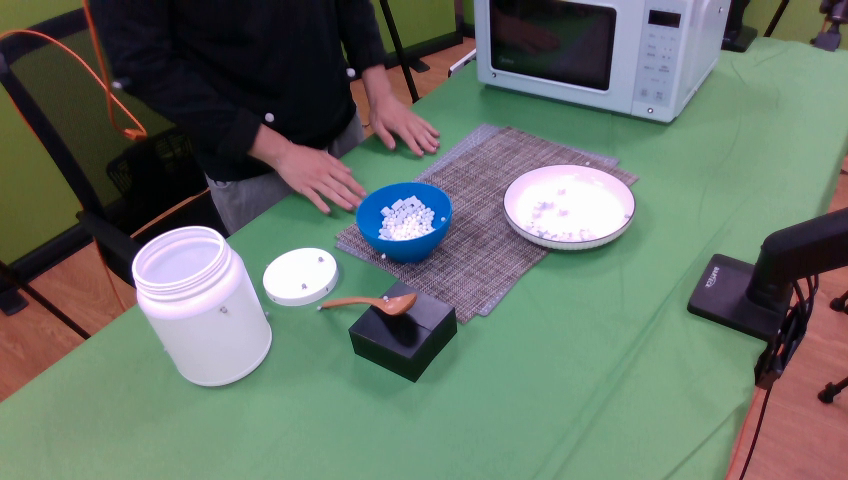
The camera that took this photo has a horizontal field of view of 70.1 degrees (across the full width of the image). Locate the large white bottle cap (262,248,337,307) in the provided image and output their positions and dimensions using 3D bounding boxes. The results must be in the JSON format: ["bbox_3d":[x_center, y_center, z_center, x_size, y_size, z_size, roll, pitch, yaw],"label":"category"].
[{"bbox_3d":[-0.193,0.056,0.933,0.115,0.018,0.114,-5,41,5],"label":"large white bottle cap"}]

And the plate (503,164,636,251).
[{"bbox_3d":[0.232,-0.050,0.976,0.209,0.038,0.208,-3,41,3],"label":"plate"}]

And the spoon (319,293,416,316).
[{"bbox_3d":[-0.082,0.086,0.826,0.192,0.022,0.041,-3,37,41],"label":"spoon"}]

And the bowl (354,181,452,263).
[{"bbox_3d":[-0.028,-0.017,0.943,0.151,0.077,0.150,-4,40,4],"label":"bowl"}]

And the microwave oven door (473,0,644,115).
[{"bbox_3d":[0.257,-0.396,1.199,0.353,0.245,0.039,21,48,29],"label":"microwave oven door"}]

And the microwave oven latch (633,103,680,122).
[{"bbox_3d":[0.444,-0.249,1.157,0.078,0.029,0.030,21,48,30],"label":"microwave oven latch"}]

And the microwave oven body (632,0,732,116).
[{"bbox_3d":[0.377,-0.462,1.267,0.438,0.261,0.327,21,48,30],"label":"microwave oven body"}]

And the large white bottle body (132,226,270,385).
[{"bbox_3d":[-0.286,0.085,0.784,0.130,0.185,0.130,-4,41,4],"label":"large white bottle body"}]
